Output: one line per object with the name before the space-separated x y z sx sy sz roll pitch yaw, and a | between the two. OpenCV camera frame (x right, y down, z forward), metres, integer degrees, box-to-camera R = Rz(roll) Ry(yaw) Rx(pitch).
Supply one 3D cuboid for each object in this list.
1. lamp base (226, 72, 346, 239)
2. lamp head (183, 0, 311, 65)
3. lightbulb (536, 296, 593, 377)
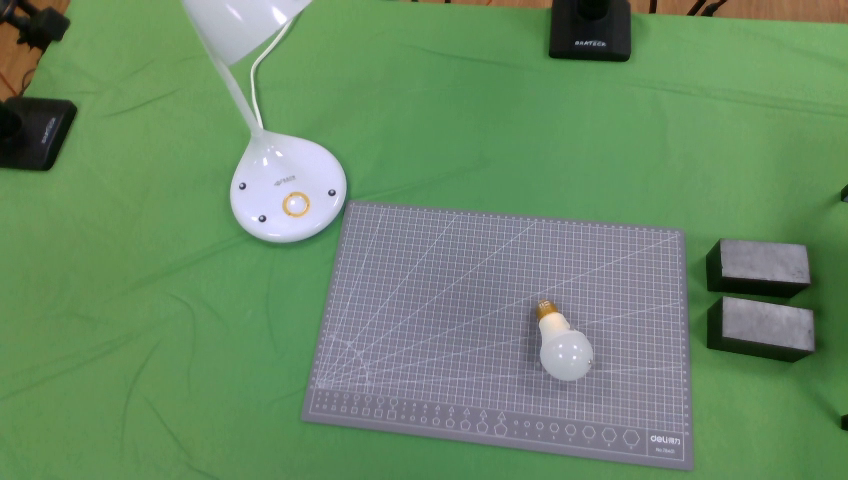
lamp base | -0.201 -0.115 0.772 0.160 0.182 0.177 -33 65 -11
lamp head | -0.164 -0.228 0.509 0.112 0.111 0.124 -49 113 -16
lightbulb | 0.160 0.110 0.716 0.059 0.060 0.106 -15 51 -3
